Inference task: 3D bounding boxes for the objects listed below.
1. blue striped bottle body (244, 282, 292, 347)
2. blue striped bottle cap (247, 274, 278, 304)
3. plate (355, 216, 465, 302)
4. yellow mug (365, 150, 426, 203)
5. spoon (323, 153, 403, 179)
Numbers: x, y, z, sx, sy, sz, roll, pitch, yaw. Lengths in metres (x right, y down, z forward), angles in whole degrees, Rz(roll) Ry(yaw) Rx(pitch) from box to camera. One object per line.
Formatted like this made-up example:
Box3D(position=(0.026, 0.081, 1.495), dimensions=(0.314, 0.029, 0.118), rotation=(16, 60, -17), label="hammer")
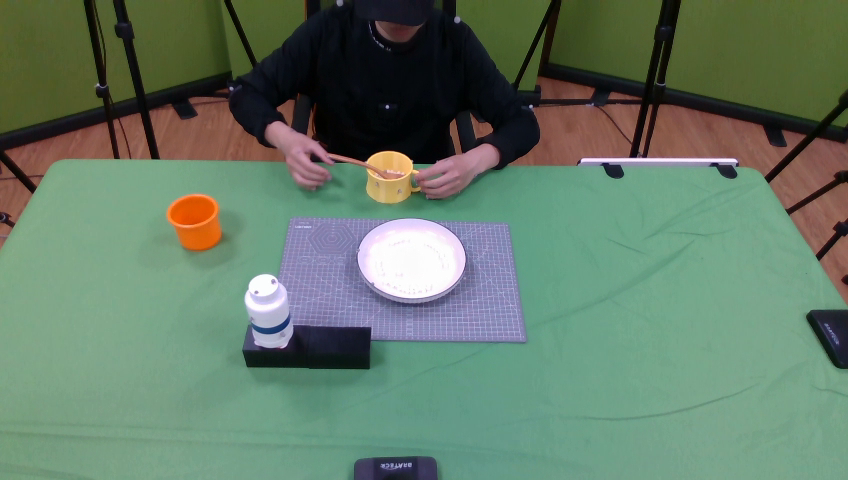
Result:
Box3D(position=(-0.241, 0.108, 0.937), dimensions=(0.063, 0.121, 0.062), rotation=(2, 46, -2), label="blue striped bottle body")
Box3D(position=(-0.239, 0.072, 0.900), dimensions=(0.044, 0.021, 0.044), rotation=(4, 46, -4), label="blue striped bottle cap")
Box3D(position=(-0.027, 0.039, 1.144), dimensions=(0.208, 0.039, 0.206), rotation=(2, 46, -2), label="plate")
Box3D(position=(-0.061, -0.133, 1.291), dimensions=(0.131, 0.064, 0.099), rotation=(8, 46, 3), label="yellow mug")
Box3D(position=(-0.119, -0.151, 1.259), dimensions=(0.195, 0.022, 0.041), rotation=(19, 32, -31), label="spoon")
